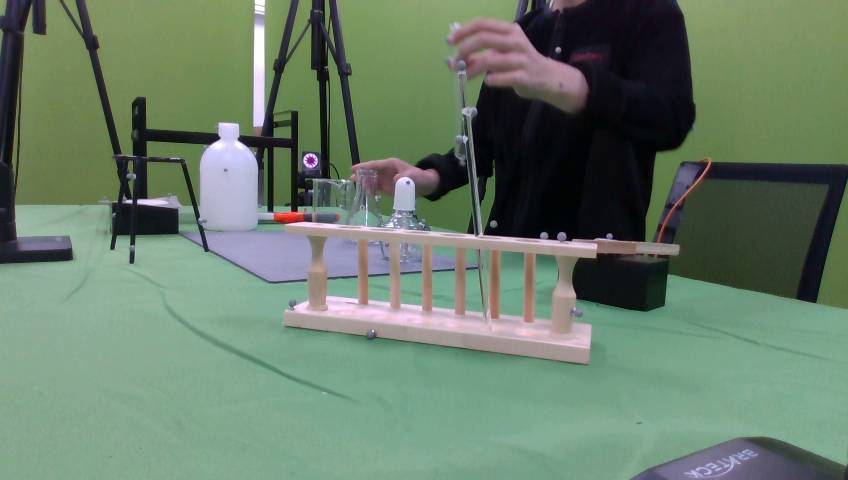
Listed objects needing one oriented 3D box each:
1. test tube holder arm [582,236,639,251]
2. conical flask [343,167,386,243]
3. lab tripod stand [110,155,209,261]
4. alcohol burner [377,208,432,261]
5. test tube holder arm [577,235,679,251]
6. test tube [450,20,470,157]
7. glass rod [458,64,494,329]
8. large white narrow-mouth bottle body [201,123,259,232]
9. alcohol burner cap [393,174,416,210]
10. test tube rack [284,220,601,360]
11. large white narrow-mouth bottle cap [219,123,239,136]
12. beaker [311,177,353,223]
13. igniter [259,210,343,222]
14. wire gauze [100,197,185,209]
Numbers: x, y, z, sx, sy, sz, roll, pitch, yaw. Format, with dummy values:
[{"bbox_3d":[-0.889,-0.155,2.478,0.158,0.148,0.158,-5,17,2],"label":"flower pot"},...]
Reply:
[{"bbox_3d":[0.194,0.004,0.629,0.088,0.015,0.010,2,13,-38],"label":"test tube holder arm"},{"bbox_3d":[-0.096,-0.059,1.000,0.075,0.122,0.075,2,8,0],"label":"conical flask"},{"bbox_3d":[-0.361,-0.046,0.806,0.148,0.131,0.148,2,5,0],"label":"lab tripod stand"},{"bbox_3d":[-0.027,-0.031,0.838,0.078,0.119,0.078,0,6,0],"label":"alcohol burner"},{"bbox_3d":[0.227,0.004,0.661,0.179,0.015,0.013,1,13,-39],"label":"test tube holder arm"},{"bbox_3d":[0.041,-0.170,0.685,0.017,0.150,0.017,-4,9,1],"label":"test tube"},{"bbox_3d":[0.039,-0.029,0.449,0.008,0.199,0.008,-7,9,1],"label":"glass rod"},{"bbox_3d":[-0.358,-0.116,1.116,0.102,0.194,0.102,2,8,0],"label":"large white narrow-mouth bottle body"},{"bbox_3d":[-0.025,-0.067,0.833,0.034,0.048,0.034,4,12,-1],"label":"alcohol burner cap"},{"bbox_3d":[0.013,0.032,0.482,0.242,0.085,0.067,4,7,16],"label":"test tube rack"},{"bbox_3d":[-0.356,-0.201,1.104,0.038,0.024,0.037,2,8,0],"label":"large white narrow-mouth bottle cap"},{"bbox_3d":[-0.167,-0.064,1.106,0.074,0.100,0.083,-2,9,-27],"label":"beaker"},{"bbox_3d":[-0.303,-0.049,1.258,0.278,0.025,0.057,-2,-2,-28],"label":"igniter"},{"bbox_3d":[-0.469,-0.062,1.008,0.126,0.011,0.121,-2,8,-25],"label":"wire gauze"}]
